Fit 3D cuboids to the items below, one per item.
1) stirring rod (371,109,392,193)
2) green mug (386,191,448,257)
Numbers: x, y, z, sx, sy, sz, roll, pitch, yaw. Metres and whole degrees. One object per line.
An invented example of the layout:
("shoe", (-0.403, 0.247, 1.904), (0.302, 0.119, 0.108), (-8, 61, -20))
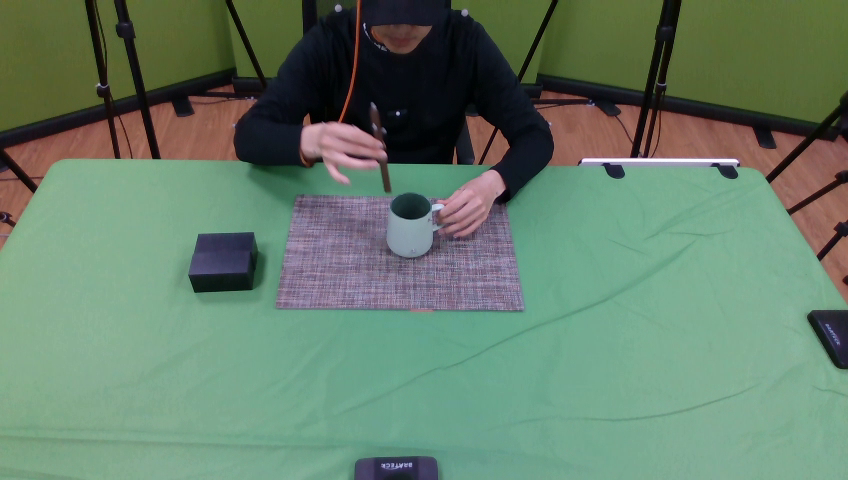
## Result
("stirring rod", (-0.073, -0.151, 1.050), (0.014, 0.177, 0.006), (-6, 43, 1))
("green mug", (-0.012, -0.034, 1.165), (0.125, 0.105, 0.092), (-17, 49, -19))
